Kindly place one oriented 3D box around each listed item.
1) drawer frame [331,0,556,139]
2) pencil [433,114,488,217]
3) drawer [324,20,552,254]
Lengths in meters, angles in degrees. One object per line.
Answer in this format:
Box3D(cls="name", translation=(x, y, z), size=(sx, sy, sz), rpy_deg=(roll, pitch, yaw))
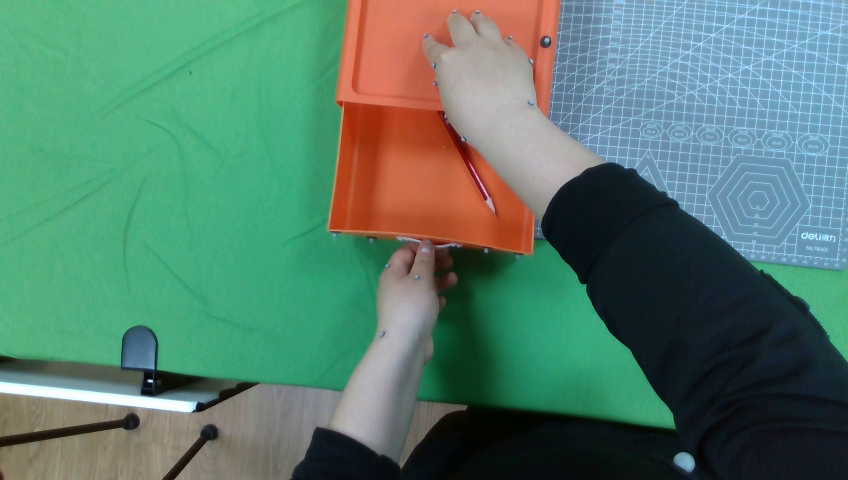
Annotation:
Box3D(cls="drawer frame", translation=(0.024, -0.218, 0.592), size=(0.201, 0.083, 0.213), rpy_deg=(5, 89, 7))
Box3D(cls="pencil", translation=(0.022, -0.110, 0.618), size=(0.012, 0.012, 0.194), rpy_deg=(-26, 88, 5))
Box3D(cls="drawer", translation=(0.015, -0.096, 0.592), size=(0.194, 0.073, 0.211), rpy_deg=(6, 88, 5))
